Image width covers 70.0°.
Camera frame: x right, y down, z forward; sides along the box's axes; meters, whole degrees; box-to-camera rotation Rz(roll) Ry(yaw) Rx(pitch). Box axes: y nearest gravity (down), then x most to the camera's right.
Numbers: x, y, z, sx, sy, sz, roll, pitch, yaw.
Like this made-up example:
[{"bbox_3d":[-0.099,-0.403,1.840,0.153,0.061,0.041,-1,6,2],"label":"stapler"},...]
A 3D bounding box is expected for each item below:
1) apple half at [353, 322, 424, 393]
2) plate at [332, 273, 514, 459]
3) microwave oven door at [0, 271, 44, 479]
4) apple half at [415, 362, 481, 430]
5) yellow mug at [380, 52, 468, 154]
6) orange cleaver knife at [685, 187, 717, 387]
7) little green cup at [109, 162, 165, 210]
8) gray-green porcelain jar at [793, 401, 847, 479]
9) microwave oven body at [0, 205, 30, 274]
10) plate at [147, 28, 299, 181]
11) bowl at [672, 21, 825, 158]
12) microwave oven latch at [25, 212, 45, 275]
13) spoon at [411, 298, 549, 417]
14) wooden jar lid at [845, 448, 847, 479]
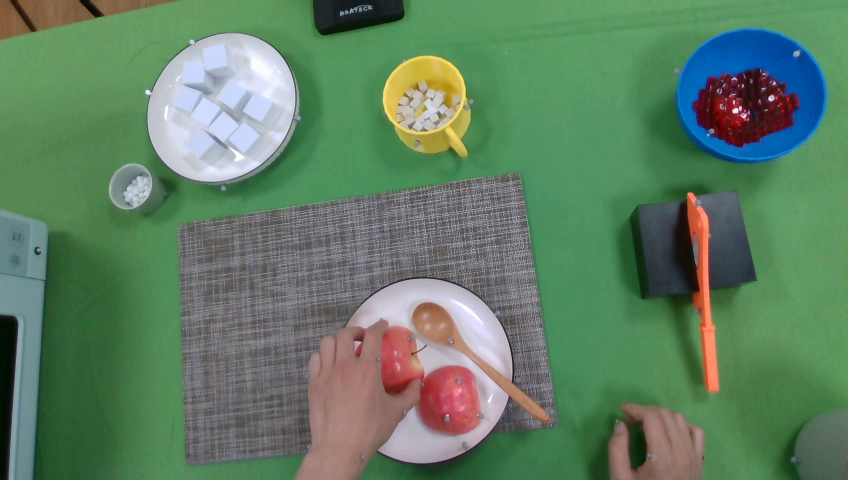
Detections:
[{"bbox_3d":[-0.045,0.135,0.685,0.074,0.053,0.080,-15,81,21],"label":"apple half"},{"bbox_3d":[-0.002,0.142,0.697,0.209,0.038,0.208,-1,81,9],"label":"plate"},{"bbox_3d":[-0.523,0.201,0.652,0.039,0.245,0.354,-5,79,9],"label":"microwave oven door"},{"bbox_3d":[0.025,0.177,0.680,0.081,0.033,0.081,-2,77,8],"label":"apple half"},{"bbox_3d":[0.011,-0.157,0.737,0.100,0.064,0.130,-37,77,1],"label":"yellow mug"},{"bbox_3d":[0.293,0.050,0.646,0.012,0.077,0.212,-7,103,12],"label":"orange cleaver knife"},{"bbox_3d":[-0.375,-0.068,0.798,0.061,0.039,0.061,-1,81,8],"label":"little green cup"},{"bbox_3d":[0.425,0.209,0.574,0.105,0.127,0.105,-2,79,10],"label":"gray-green porcelain jar"},{"bbox_3d":[-0.668,0.174,0.686,0.325,0.261,0.440,-5,80,8],"label":"microwave oven body"},{"bbox_3d":[-0.261,-0.176,0.799,0.207,0.039,0.207,-2,80,9],"label":"plate"},{"bbox_3d":[0.348,-0.155,0.675,0.151,0.077,0.151,-2,80,9],"label":"bowl"},{"bbox_3d":[-0.516,0.005,0.790,0.030,0.029,0.079,-4,80,8],"label":"microwave oven latch"},{"bbox_3d":[0.060,0.131,0.676,0.192,0.022,0.041,38,76,26],"label":"spoon"},{"bbox_3d":[0.414,0.196,0.514,0.108,0.021,0.108,-1,82,9],"label":"wooden jar lid"}]
